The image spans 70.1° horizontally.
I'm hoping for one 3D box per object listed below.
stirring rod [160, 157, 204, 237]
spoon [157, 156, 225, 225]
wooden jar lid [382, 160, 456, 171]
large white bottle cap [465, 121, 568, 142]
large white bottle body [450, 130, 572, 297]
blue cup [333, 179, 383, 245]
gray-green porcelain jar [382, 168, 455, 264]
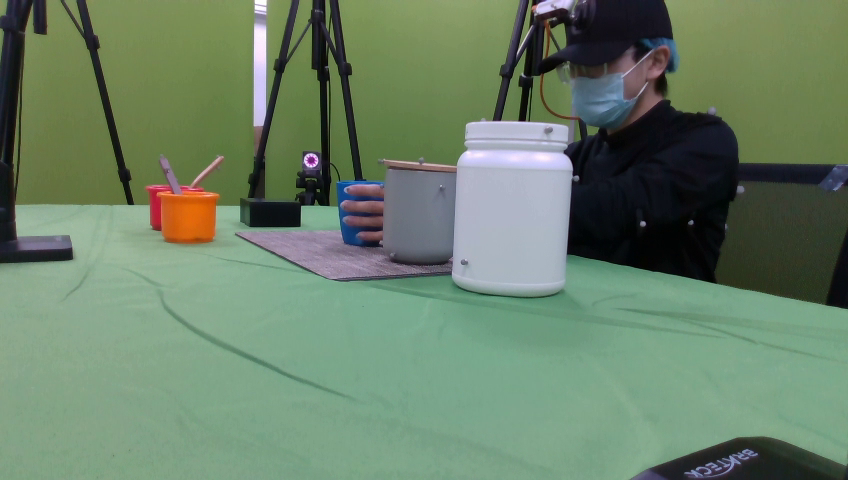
[{"bbox_3d":[-0.390,-0.070,0.972,0.014,0.006,0.175,-4,51,-48],"label":"stirring rod"},{"bbox_3d":[-0.425,-0.094,1.117,0.041,0.022,0.194,4,51,30],"label":"spoon"},{"bbox_3d":[-0.003,-0.096,0.826,0.108,0.020,0.108,4,10,0],"label":"wooden jar lid"},{"bbox_3d":[0.103,-0.121,0.677,0.115,0.018,0.115,3,7,0],"label":"large white bottle cap"},{"bbox_3d":[0.099,-0.037,0.688,0.131,0.184,0.130,2,7,0],"label":"large white bottle body"},{"bbox_3d":[-0.101,-0.046,0.985,0.093,0.100,0.092,0,9,0],"label":"blue cup"},{"bbox_3d":[-0.005,-0.034,0.834,0.106,0.126,0.106,3,7,0],"label":"gray-green porcelain jar"}]
